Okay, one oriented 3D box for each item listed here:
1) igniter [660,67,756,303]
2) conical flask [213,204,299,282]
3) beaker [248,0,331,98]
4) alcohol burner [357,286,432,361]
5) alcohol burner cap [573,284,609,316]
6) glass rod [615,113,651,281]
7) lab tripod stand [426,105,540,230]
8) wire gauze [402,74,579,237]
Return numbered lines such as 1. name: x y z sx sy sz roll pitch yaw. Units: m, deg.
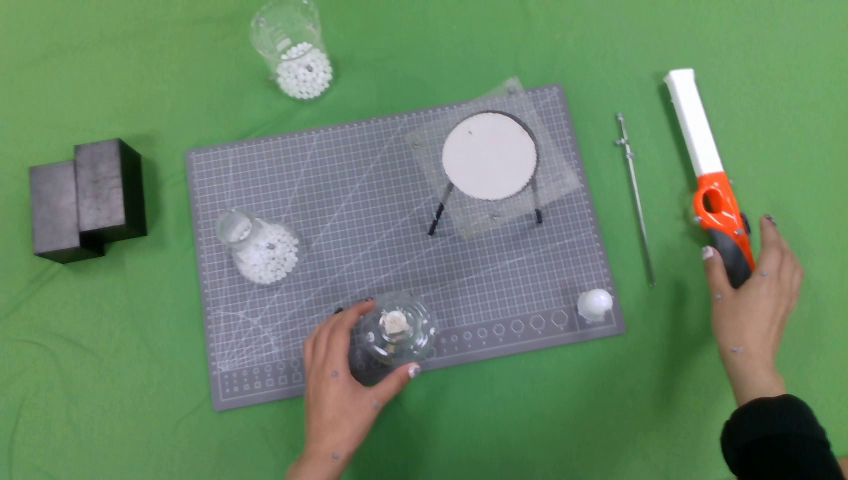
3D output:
1. igniter: 0.318 -0.067 0.680 0.057 0.025 0.275 -8 77 -12
2. conical flask: -0.177 -0.002 0.621 0.075 0.122 0.075 0 77 1
3. beaker: -0.145 -0.214 0.682 0.074 0.100 0.084 38 80 8
4. alcohol burner: -0.030 0.082 0.606 0.078 0.119 0.077 0 77 0
5. alcohol burner cap: 0.180 0.062 0.643 0.034 0.048 0.033 0 78 0
6. glass rod: 0.236 -0.052 0.687 0.008 0.008 0.198 -6 77 -1
7. lab tripod stand: 0.061 -0.067 0.627 0.148 0.132 0.148 0 79 1
8. wire gauze: 0.060 -0.079 0.560 0.125 0.011 0.121 -27 79 -4
